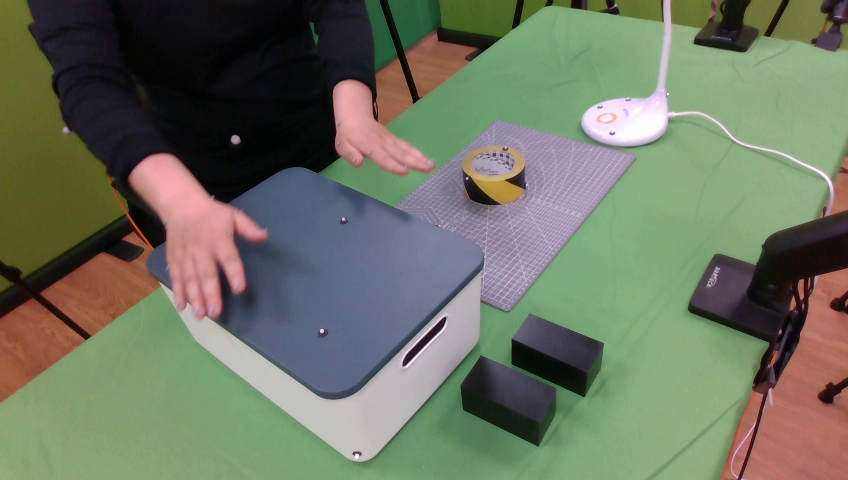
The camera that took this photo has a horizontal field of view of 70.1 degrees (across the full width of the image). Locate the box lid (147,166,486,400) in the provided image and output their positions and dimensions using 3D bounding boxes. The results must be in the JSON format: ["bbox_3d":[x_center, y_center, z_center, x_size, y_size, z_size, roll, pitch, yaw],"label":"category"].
[{"bbox_3d":[-0.136,0.024,0.738,0.368,0.015,0.264,25,50,32],"label":"box lid"}]

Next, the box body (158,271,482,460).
[{"bbox_3d":[-0.130,0.079,0.787,0.361,0.161,0.255,25,50,32],"label":"box body"}]

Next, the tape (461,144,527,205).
[{"bbox_3d":[0.124,-0.116,1.058,0.117,0.053,0.116,-4,42,4],"label":"tape"}]

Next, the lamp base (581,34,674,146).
[{"bbox_3d":[0.392,-0.291,1.129,0.180,0.181,0.159,-11,41,-8],"label":"lamp base"}]
